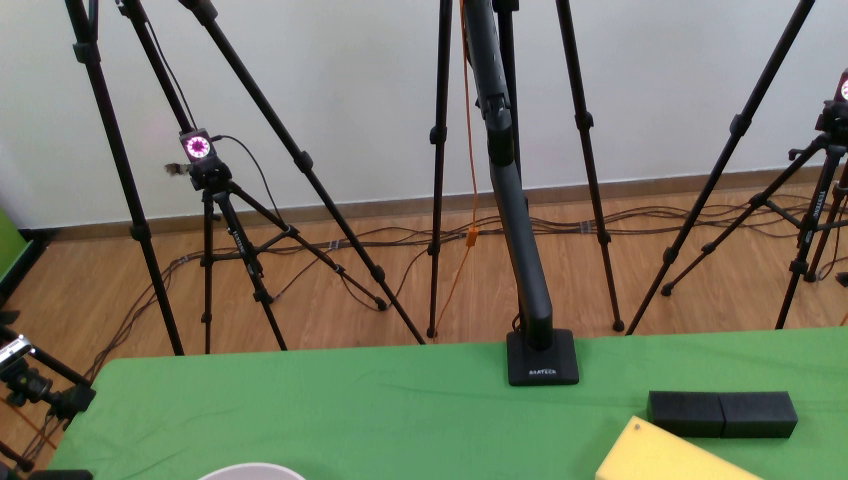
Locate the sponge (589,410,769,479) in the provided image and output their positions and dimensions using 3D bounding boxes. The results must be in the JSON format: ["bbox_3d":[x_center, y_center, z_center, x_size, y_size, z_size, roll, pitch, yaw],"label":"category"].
[{"bbox_3d":[0.352,0.342,0.849,0.205,0.061,0.118,22,49,33],"label":"sponge"}]

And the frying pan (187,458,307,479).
[{"bbox_3d":[-0.268,0.512,0.763,0.307,0.103,0.483,-9,33,4],"label":"frying pan"}]
